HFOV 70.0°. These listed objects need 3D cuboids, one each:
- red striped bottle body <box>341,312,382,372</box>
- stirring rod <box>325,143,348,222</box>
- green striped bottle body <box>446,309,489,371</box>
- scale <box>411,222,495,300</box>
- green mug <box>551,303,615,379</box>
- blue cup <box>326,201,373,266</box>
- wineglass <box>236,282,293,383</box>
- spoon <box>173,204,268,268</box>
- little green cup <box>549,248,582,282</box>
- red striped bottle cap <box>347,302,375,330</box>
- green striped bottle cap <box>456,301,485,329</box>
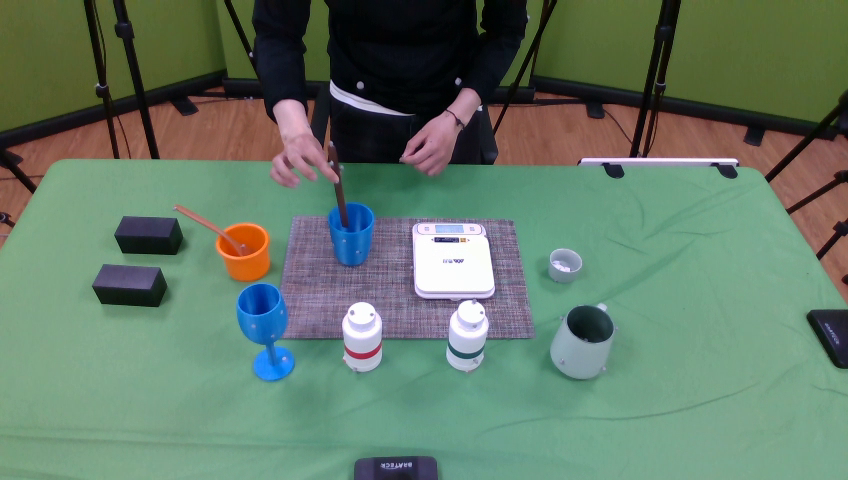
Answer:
[{"bbox_3d":[-0.100,0.154,0.972,0.063,0.120,0.062,2,46,-1],"label":"red striped bottle body"},{"bbox_3d":[-0.149,-0.091,1.039,0.014,0.177,0.006,0,41,6],"label":"stirring rod"},{"bbox_3d":[0.070,0.155,0.984,0.063,0.120,0.063,2,46,-2],"label":"green striped bottle body"},{"bbox_3d":[0.052,0.031,1.158,0.149,0.032,0.199,1,46,-4],"label":"scale"},{"bbox_3d":[0.271,0.157,1.007,0.092,0.105,0.125,27,50,21],"label":"green mug"},{"bbox_3d":[-0.138,-0.006,1.131,0.093,0.101,0.092,3,45,-3],"label":"blue cup"},{"bbox_3d":[-0.243,0.143,0.934,0.074,0.173,0.073,2,46,-2],"label":"wineglass"},{"bbox_3d":[-0.363,-0.008,1.089,0.021,0.195,0.041,-32,32,26],"label":"spoon"},{"bbox_3d":[0.268,0.050,1.156,0.061,0.039,0.061,2,46,-1],"label":"little green cup"},{"bbox_3d":[-0.097,0.116,0.934,0.044,0.018,0.044,3,48,-3],"label":"red striped bottle cap"},{"bbox_3d":[0.073,0.116,0.943,0.044,0.020,0.044,4,46,-4],"label":"green striped bottle cap"}]
